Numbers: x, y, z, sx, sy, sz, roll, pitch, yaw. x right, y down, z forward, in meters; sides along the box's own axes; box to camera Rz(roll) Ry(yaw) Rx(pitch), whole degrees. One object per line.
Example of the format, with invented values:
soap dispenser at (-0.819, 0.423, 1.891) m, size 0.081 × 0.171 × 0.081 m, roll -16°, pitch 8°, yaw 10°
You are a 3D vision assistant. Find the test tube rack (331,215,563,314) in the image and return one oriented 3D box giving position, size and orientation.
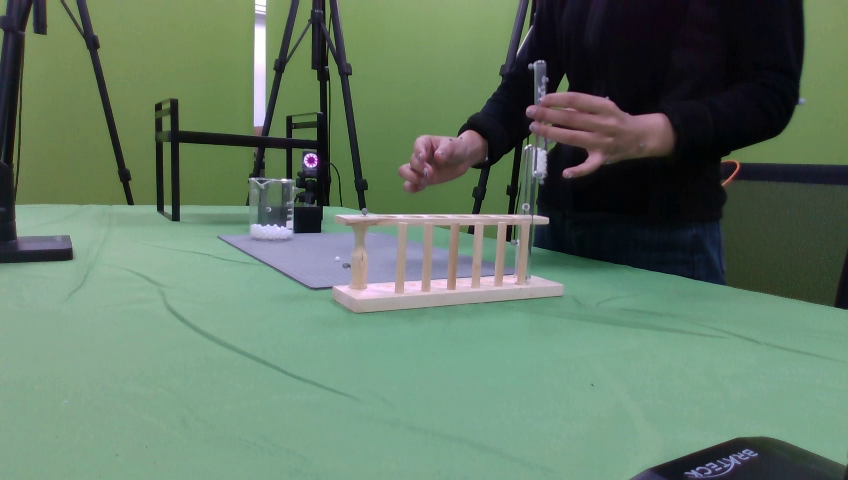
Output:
test tube rack at (0.031, 0.019, 0.626) m, size 0.243 × 0.085 × 0.066 m, roll -1°, pitch 8°, yaw -28°

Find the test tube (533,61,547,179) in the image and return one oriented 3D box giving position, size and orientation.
test tube at (0.147, -0.152, 0.765) m, size 0.017 × 0.150 × 0.017 m, roll 0°, pitch -3°, yaw 0°

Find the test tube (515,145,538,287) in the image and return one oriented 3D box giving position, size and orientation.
test tube at (0.108, -0.024, 0.639) m, size 0.017 × 0.150 × 0.017 m, roll 2°, pitch 8°, yaw 0°

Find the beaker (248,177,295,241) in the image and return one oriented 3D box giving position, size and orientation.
beaker at (-0.252, -0.051, 0.992) m, size 0.074 × 0.100 × 0.084 m, roll 3°, pitch 9°, yaw 6°
